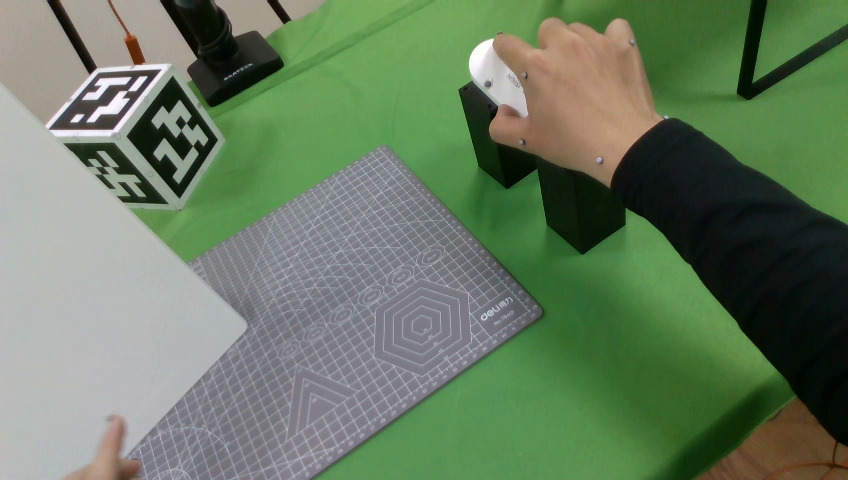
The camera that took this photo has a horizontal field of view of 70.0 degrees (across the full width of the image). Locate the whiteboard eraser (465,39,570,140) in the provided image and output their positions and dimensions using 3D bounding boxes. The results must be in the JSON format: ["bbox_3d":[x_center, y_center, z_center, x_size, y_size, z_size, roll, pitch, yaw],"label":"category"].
[{"bbox_3d":[0.074,-0.122,0.489,0.041,0.019,0.101,-45,78,3],"label":"whiteboard eraser"}]

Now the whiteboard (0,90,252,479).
[{"bbox_3d":[-0.345,0.046,0.511,0.142,0.308,0.216,13,56,51],"label":"whiteboard"}]
